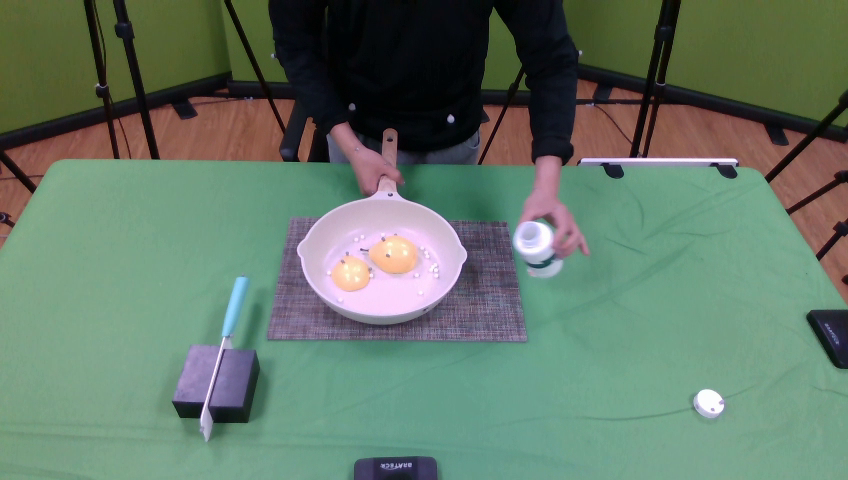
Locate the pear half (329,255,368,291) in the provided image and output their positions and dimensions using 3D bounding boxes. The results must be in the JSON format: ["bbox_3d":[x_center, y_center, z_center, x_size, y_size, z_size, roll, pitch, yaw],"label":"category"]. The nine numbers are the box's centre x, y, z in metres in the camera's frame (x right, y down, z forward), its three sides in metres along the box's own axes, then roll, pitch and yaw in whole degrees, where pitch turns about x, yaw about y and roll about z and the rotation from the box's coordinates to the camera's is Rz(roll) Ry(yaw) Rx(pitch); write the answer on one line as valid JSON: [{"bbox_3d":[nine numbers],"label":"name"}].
[{"bbox_3d":[-0.140,0.053,1.122,0.070,0.031,0.087,-7,50,-17],"label":"pear half"}]

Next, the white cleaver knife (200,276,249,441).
[{"bbox_3d":[-0.321,0.177,0.972,0.021,0.066,0.284,7,48,-5],"label":"white cleaver knife"}]

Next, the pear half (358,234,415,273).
[{"bbox_3d":[-0.074,0.017,1.146,0.110,0.056,0.076,8,41,7],"label":"pear half"}]

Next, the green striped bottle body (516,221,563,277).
[{"bbox_3d":[0.194,0.013,1.028,0.063,0.120,0.063,-11,59,19],"label":"green striped bottle body"}]

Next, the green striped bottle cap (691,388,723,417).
[{"bbox_3d":[0.460,0.263,0.984,0.044,0.020,0.044,3,46,-3],"label":"green striped bottle cap"}]

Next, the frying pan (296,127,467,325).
[{"bbox_3d":[-0.075,-0.044,1.172,0.307,0.103,0.485,3,55,-2],"label":"frying pan"}]
